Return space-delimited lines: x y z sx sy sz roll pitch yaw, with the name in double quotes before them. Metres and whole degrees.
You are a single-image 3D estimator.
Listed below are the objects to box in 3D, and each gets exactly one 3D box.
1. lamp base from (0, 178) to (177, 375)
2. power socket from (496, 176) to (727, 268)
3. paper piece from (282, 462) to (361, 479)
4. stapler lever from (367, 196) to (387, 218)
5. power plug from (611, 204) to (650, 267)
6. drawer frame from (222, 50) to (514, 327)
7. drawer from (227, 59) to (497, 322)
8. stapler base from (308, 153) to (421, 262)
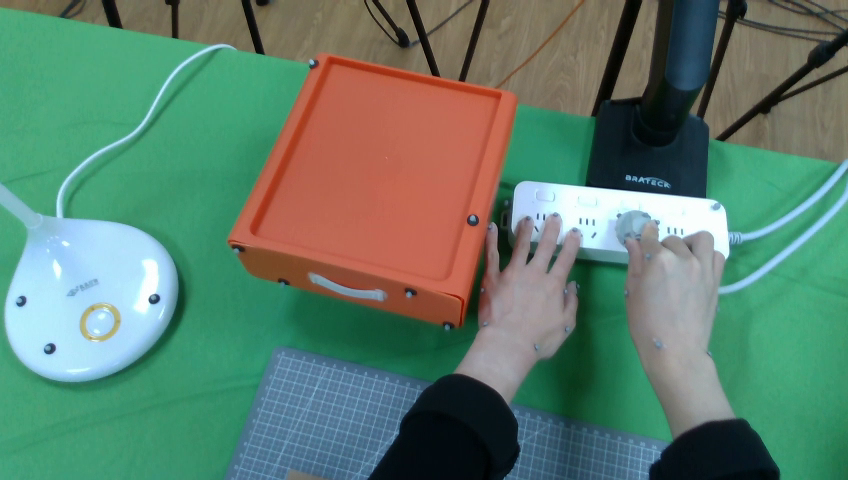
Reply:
"lamp base" -0.329 0.008 0.516 0.160 0.182 0.178 -39 66 -17
"power socket" 0.187 -0.018 0.607 0.226 0.033 0.071 7 66 4
"paper piece" -0.067 0.260 0.482 0.136 0.009 0.137 11 65 9
"stapler lever" -0.068 -0.042 0.536 0.027 0.040 0.117 -47 67 -2
"power plug" 0.191 -0.002 0.573 0.035 0.053 0.072 19 65 9
"drawer frame" -0.041 -0.053 0.549 0.201 0.083 0.212 13 63 8
"drawer" -0.039 -0.050 0.548 0.194 0.074 0.210 13 64 8
"stapler base" -0.059 -0.034 0.560 0.129 0.024 0.041 42 87 22
